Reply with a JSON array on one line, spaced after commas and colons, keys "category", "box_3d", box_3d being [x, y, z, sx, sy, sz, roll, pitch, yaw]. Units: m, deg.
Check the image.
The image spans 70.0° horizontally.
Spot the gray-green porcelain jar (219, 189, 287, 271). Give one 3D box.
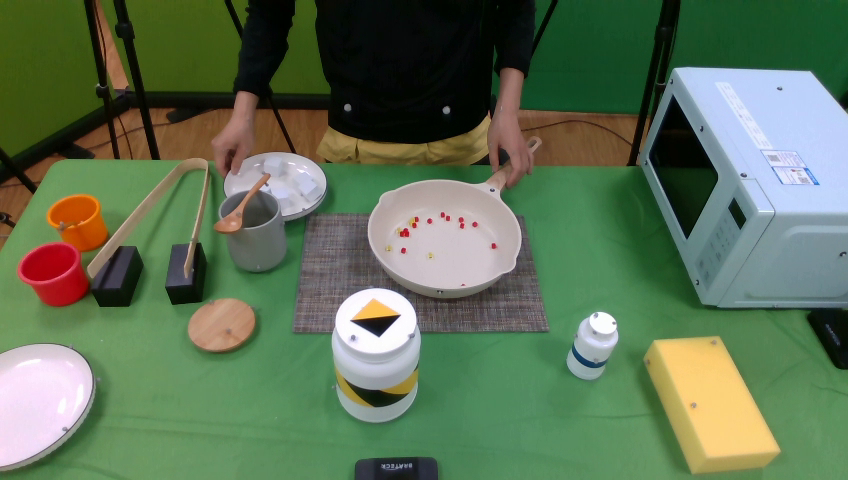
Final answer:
[{"category": "gray-green porcelain jar", "box_3d": [-0.310, -0.014, 1.113, 0.106, 0.127, 0.105, 2, 46, -2]}]

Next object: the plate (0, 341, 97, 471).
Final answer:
[{"category": "plate", "box_3d": [-0.599, 0.247, 0.904, 0.209, 0.038, 0.208, 2, 47, -2]}]

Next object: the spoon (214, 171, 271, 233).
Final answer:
[{"category": "spoon", "box_3d": [-0.312, -0.070, 1.070, 0.041, 0.022, 0.193, 10, 43, 9]}]

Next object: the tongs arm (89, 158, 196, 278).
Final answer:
[{"category": "tongs arm", "box_3d": [-0.531, -0.057, 1.163, 0.028, 0.028, 0.385, 1, 36, 7]}]

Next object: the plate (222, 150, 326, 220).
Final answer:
[{"category": "plate", "box_3d": [-0.309, -0.109, 1.260, 0.208, 0.039, 0.206, 4, 46, -4]}]

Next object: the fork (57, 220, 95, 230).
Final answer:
[{"category": "fork", "box_3d": [-0.624, -0.027, 1.086, 0.028, 0.018, 0.207, -2, 2, -17]}]

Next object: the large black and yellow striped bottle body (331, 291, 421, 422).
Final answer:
[{"category": "large black and yellow striped bottle body", "box_3d": [-0.071, 0.175, 0.911, 0.131, 0.185, 0.130, 2, 47, -2]}]

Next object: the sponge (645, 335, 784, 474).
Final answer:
[{"category": "sponge", "box_3d": [0.449, 0.253, 0.956, 0.118, 0.061, 0.205, -4, 46, -7]}]

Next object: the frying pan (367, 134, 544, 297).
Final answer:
[{"category": "frying pan", "box_3d": [0.104, -0.069, 1.205, 0.305, 0.103, 0.487, 32, 61, 23]}]

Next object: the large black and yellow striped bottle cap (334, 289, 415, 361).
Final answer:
[{"category": "large black and yellow striped bottle cap", "box_3d": [-0.069, 0.117, 0.850, 0.115, 0.019, 0.114, 2, 45, -2]}]

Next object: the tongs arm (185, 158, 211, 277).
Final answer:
[{"category": "tongs arm", "box_3d": [-0.447, -0.057, 1.168, 0.051, 0.026, 0.382, -5, 37, -6]}]

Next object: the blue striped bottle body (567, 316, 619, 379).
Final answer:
[{"category": "blue striped bottle body", "box_3d": [0.276, 0.168, 0.984, 0.063, 0.121, 0.062, 2, 46, -2]}]

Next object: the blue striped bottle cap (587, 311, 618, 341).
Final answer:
[{"category": "blue striped bottle cap", "box_3d": [0.279, 0.134, 0.946, 0.044, 0.021, 0.044, 2, 45, -2]}]

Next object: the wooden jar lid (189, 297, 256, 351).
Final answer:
[{"category": "wooden jar lid", "box_3d": [-0.342, 0.145, 1.033, 0.108, 0.021, 0.107, 2, 45, -2]}]

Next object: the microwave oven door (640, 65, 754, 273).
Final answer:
[{"category": "microwave oven door", "box_3d": [0.523, -0.147, 1.193, 0.039, 0.245, 0.353, 0, 47, -3]}]

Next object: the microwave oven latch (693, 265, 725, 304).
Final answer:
[{"category": "microwave oven latch", "box_3d": [0.523, 0.081, 1.116, 0.030, 0.029, 0.078, 2, 46, -1]}]

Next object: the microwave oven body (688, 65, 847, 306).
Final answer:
[{"category": "microwave oven body", "box_3d": [0.669, -0.111, 1.176, 0.326, 0.261, 0.439, 0, 46, -3]}]
